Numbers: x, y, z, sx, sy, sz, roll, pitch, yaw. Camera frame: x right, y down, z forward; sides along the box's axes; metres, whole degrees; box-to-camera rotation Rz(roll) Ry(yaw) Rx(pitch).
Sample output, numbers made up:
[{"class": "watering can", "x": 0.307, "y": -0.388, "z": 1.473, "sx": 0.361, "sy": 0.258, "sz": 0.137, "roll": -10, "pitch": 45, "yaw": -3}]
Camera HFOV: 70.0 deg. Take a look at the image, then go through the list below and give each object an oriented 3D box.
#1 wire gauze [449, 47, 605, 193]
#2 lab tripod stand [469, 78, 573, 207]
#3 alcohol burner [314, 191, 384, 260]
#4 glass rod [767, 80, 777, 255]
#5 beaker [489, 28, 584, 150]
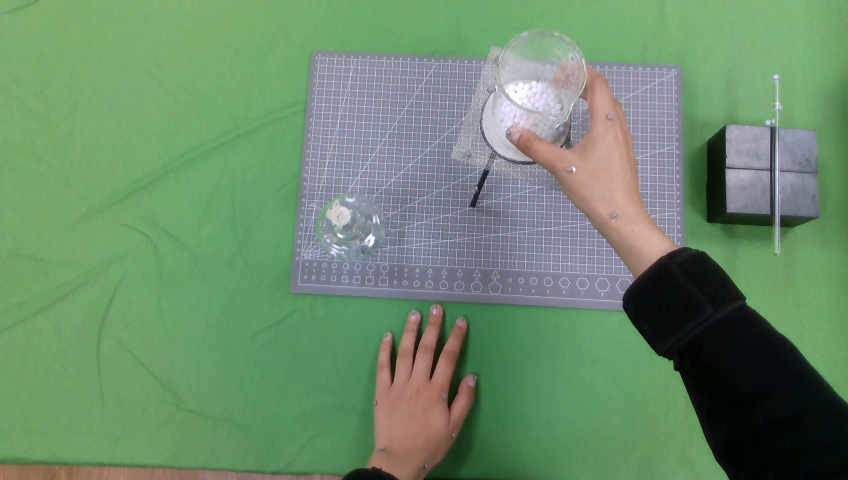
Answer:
[{"class": "wire gauze", "x": 0.102, "y": -0.118, "z": 0.588, "sx": 0.121, "sy": 0.011, "sz": 0.124, "roll": 20, "pitch": 79, "yaw": 4}, {"class": "lab tripod stand", "x": 0.098, "y": -0.107, "z": 0.653, "sx": 0.148, "sy": 0.132, "sz": 0.147, "roll": -1, "pitch": 79, "yaw": 3}, {"class": "alcohol burner", "x": -0.083, "y": -0.019, "z": 0.650, "sx": 0.078, "sy": 0.119, "sz": 0.077, "roll": 0, "pitch": 81, "yaw": 1}, {"class": "glass rod", "x": 0.380, "y": -0.081, "z": 0.661, "sx": 0.008, "sy": 0.008, "sz": 0.199, "roll": 6, "pitch": 81, "yaw": 3}, {"class": "beaker", "x": 0.097, "y": -0.126, "z": 0.540, "sx": 0.074, "sy": 0.100, "sz": 0.083, "roll": -24, "pitch": 79, "yaw": -3}]
